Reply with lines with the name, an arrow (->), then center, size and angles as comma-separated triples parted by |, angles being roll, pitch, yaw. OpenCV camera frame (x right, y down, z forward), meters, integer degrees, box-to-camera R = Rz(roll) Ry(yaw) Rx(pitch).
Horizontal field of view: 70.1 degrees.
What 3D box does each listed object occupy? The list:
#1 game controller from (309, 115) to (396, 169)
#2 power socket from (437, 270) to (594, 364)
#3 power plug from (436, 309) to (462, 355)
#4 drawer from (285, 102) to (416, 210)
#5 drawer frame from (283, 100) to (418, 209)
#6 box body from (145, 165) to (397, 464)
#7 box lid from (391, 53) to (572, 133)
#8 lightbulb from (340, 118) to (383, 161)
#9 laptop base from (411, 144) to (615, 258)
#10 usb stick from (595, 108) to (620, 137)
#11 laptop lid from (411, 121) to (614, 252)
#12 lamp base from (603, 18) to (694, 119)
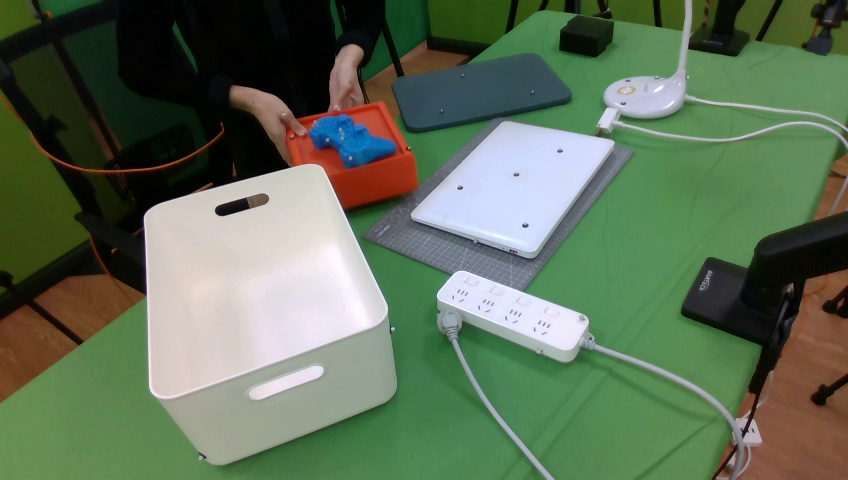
game controller -> -0.130, -0.178, 1.043 | 0.097, 0.052, 0.154 | -36, 48, -23
power socket -> 0.118, 0.102, 0.830 | 0.225, 0.033, 0.072 | 20, 48, 28
power plug -> 0.032, 0.126, 0.809 | 0.035, 0.053, 0.072 | 3, 59, 7
drawer -> -0.137, -0.157, 1.099 | 0.195, 0.073, 0.210 | -14, 42, -11
drawer frame -> -0.136, -0.156, 1.097 | 0.202, 0.083, 0.212 | -15, 42, -10
box body -> -0.205, 0.080, 0.802 | 0.255, 0.161, 0.361 | -18, 41, -13
box lid -> 0.122, -0.339, 1.366 | 0.372, 0.015, 0.261 | -12, 40, -5
lightbulb -> -0.114, -0.186, 1.141 | 0.060, 0.059, 0.107 | -33, 66, -27
laptop base -> 0.167, -0.102, 1.074 | 0.234, 0.023, 0.355 | 16, 45, 30
usb stick -> 0.355, -0.225, 1.175 | 0.027, 0.022, 0.059 | 29, 85, 41
laptop lid -> 0.164, -0.112, 1.068 | 0.240, 0.013, 0.357 | 19, 46, 30
lamp base -> 0.460, -0.355, 1.204 | 0.179, 0.181, 0.160 | 2, 41, 7
